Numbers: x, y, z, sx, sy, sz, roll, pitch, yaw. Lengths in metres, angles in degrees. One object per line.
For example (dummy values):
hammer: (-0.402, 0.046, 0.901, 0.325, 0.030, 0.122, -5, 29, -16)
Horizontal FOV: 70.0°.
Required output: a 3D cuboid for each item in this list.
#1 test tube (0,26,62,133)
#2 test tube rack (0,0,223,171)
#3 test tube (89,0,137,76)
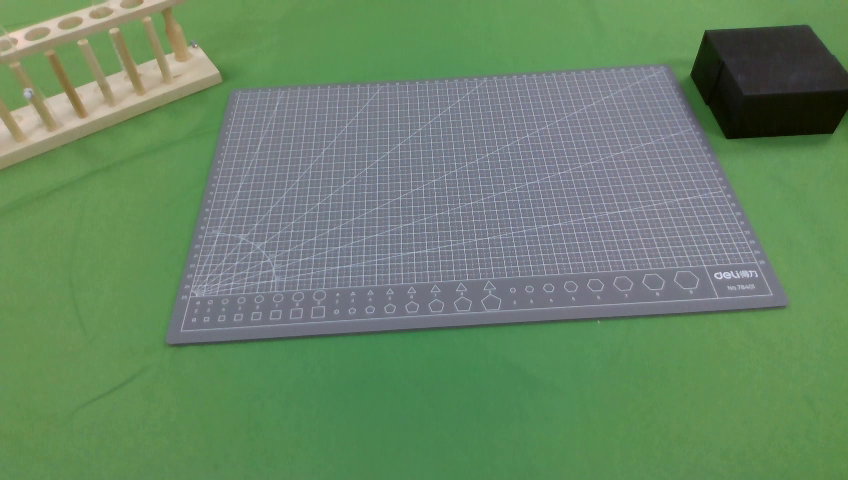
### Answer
test tube: (-0.357, -0.155, 0.522, 0.017, 0.152, 0.017, -1, 49, 2)
test tube rack: (-0.330, -0.156, 0.580, 0.242, 0.086, 0.066, -29, 55, -20)
test tube: (-0.303, -0.220, 0.566, 0.017, 0.151, 0.017, -1, 49, 1)
